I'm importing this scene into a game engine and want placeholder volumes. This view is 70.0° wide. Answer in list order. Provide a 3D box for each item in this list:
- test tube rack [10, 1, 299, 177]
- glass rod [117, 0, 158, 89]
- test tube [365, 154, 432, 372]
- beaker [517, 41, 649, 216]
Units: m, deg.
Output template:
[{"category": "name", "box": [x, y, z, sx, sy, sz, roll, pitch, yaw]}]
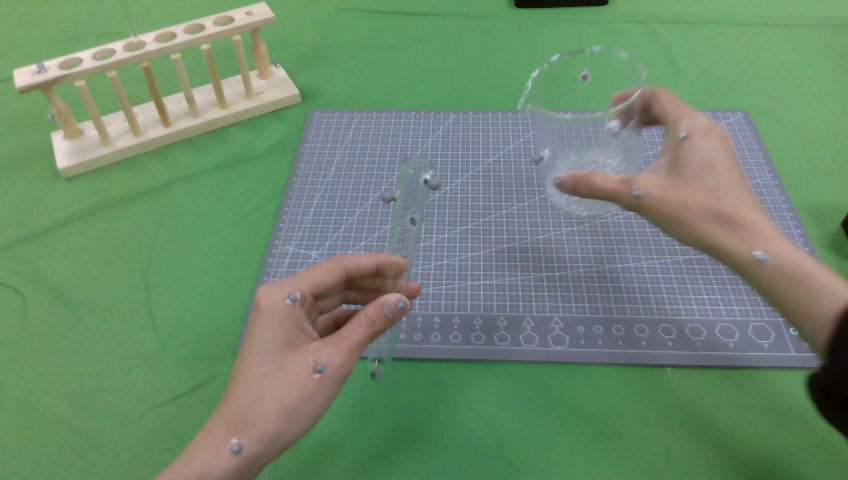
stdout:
[{"category": "test tube rack", "box": [-0.257, -0.154, 0.604, 0.243, 0.086, 0.066, -23, 51, -17]}, {"category": "glass rod", "box": [-0.270, -0.198, 0.554, 0.008, 0.201, 0.008, 1, 51, -1]}, {"category": "test tube", "box": [-0.017, 0.021, 0.333, 0.017, 0.151, 0.017, 8, 37, -6]}, {"category": "beaker", "box": [0.111, -0.071, 0.420, 0.084, 0.101, 0.073, -17, 48, 4]}]
